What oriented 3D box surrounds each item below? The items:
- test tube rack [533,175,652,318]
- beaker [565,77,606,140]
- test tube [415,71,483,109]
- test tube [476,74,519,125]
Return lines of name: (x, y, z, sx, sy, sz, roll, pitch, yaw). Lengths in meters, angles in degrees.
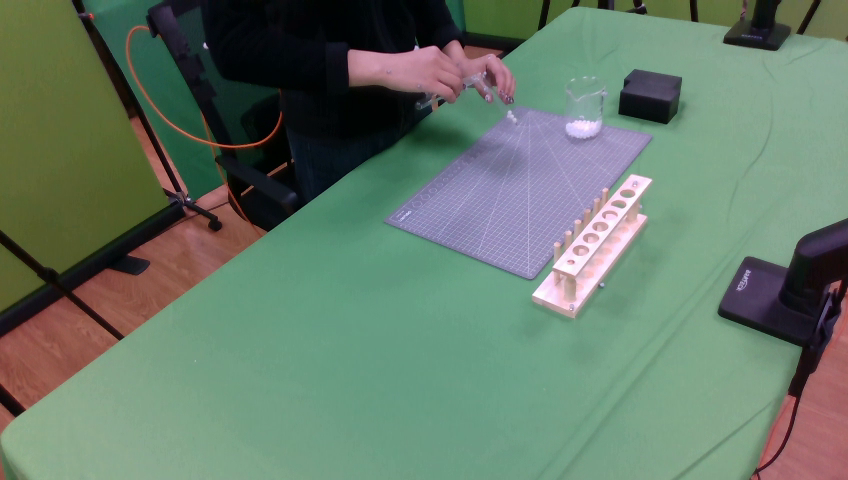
test tube rack: (0.251, -0.001, 0.889, 0.066, 0.085, 0.243, 22, 49, 33)
beaker: (0.305, -0.247, 1.153, 0.073, 0.101, 0.084, 15, 47, 27)
test tube: (0.043, -0.252, 1.017, 0.151, 0.017, 0.017, -33, 45, -29)
test tube: (0.137, -0.255, 1.110, 0.017, 0.151, 0.017, -16, 59, 29)
